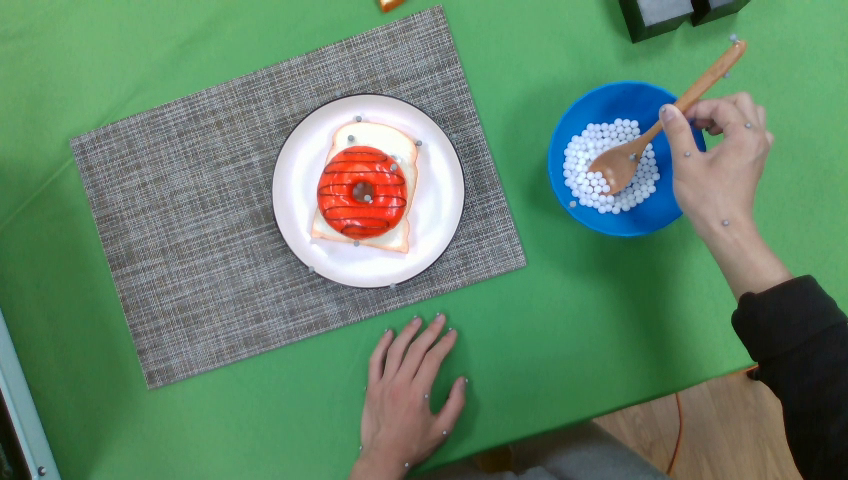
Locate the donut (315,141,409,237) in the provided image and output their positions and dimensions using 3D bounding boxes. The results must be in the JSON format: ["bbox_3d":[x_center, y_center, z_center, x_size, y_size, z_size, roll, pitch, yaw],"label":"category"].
[{"bbox_3d":[-0.064,-0.052,0.625,0.099,0.048,0.099,0,91,5],"label":"donut"}]

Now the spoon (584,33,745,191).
[{"bbox_3d":[0.216,-0.110,0.557,0.041,0.194,0.021,45,48,6],"label":"spoon"}]

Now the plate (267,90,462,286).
[{"bbox_3d":[-0.062,-0.054,0.653,0.207,0.039,0.207,0,91,4],"label":"plate"}]

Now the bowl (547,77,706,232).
[{"bbox_3d":[0.197,-0.082,0.619,0.151,0.077,0.151,0,90,3],"label":"bowl"}]

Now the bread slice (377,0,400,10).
[{"bbox_3d":[-0.037,-0.334,0.663,0.105,0.019,0.131,-33,90,3],"label":"bread slice"}]

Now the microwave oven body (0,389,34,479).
[{"bbox_3d":[-0.632,0.145,0.583,0.326,0.260,0.441,-21,90,3],"label":"microwave oven body"}]

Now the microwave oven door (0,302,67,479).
[{"bbox_3d":[-0.481,0.133,0.568,0.039,0.244,0.355,-21,89,4],"label":"microwave oven door"}]

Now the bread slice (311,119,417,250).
[{"bbox_3d":[-0.062,-0.062,0.653,0.107,0.018,0.134,6,91,3],"label":"bread slice"}]
